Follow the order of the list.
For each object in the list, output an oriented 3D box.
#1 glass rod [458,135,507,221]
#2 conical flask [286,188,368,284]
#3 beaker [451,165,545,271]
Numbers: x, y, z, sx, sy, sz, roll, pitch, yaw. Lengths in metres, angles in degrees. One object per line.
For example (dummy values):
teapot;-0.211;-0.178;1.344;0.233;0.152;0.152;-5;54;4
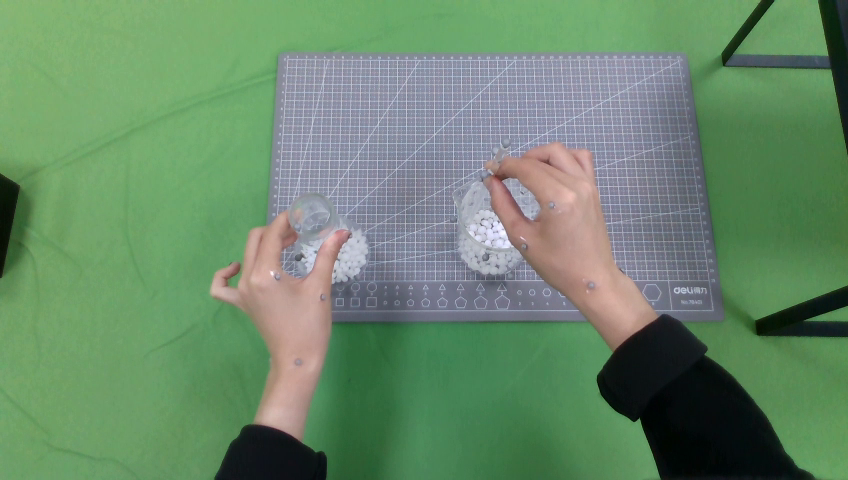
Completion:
glass rod;0.045;-0.046;0.507;0.008;0.200;0.008;1;76;-5
conical flask;-0.093;-0.008;0.547;0.075;0.122;0.075;0;73;0
beaker;0.062;-0.016;0.562;0.084;0.101;0.073;23;74;8
